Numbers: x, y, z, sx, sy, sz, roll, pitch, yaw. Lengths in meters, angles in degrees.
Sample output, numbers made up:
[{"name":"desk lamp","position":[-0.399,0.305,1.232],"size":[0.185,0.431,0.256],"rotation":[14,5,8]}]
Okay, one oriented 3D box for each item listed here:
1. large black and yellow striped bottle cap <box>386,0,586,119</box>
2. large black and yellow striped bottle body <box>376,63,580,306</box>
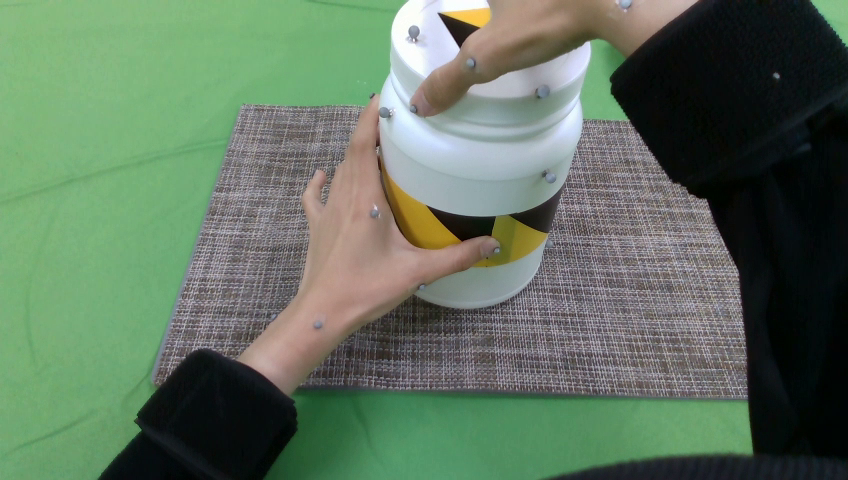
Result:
[{"name":"large black and yellow striped bottle cap","position":[0.035,-0.113,0.351],"size":[0.115,0.019,0.114],"rotation":[3,51,-4]},{"name":"large black and yellow striped bottle body","position":[0.032,-0.056,0.420],"size":[0.131,0.185,0.129],"rotation":[2,50,-2]}]
